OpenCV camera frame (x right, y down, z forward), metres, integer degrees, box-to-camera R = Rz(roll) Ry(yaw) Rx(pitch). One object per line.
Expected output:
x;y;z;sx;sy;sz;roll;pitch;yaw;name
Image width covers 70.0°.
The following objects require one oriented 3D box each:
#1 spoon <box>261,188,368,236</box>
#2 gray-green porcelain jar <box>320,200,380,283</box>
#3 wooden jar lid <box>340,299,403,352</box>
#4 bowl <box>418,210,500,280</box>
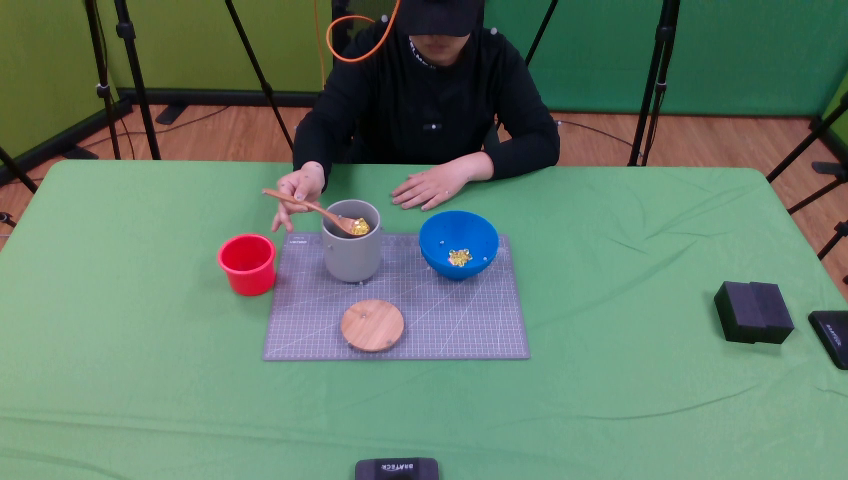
-0.185;-0.051;1.040;0.194;0.022;0.041;25;39;-21;spoon
-0.133;0.007;1.106;0.106;0.127;0.105;2;46;-2;gray-green porcelain jar
-0.090;0.150;1.046;0.108;0.021;0.107;3;47;-3;wooden jar lid
0.062;0.022;1.140;0.151;0.077;0.150;2;46;-2;bowl
